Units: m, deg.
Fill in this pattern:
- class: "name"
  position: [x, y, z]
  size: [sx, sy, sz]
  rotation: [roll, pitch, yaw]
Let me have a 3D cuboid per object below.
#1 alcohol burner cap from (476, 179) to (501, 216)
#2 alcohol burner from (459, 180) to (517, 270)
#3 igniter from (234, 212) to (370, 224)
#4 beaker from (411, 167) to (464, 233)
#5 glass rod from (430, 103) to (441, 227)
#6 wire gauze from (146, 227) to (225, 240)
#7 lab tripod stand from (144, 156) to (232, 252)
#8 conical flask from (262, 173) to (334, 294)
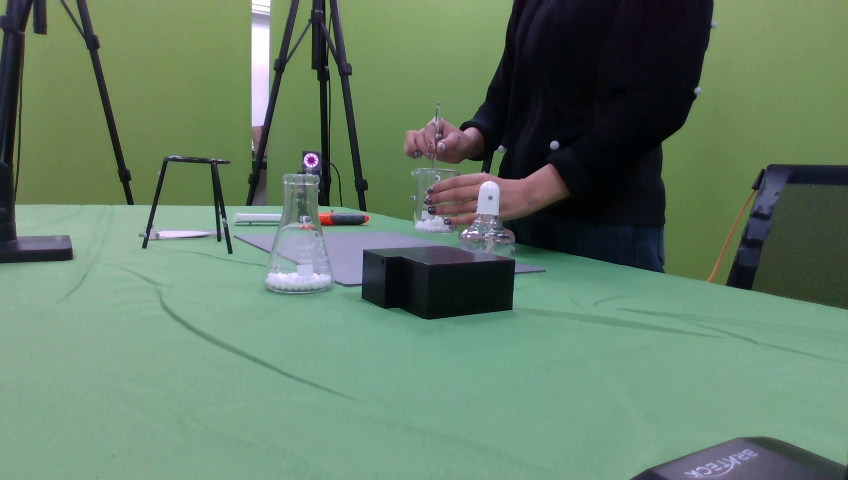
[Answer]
- class: "alcohol burner cap"
  position: [0.086, -0.057, 0.801]
  size: [0.034, 0.048, 0.034]
  rotation: [4, 2, 0]
- class: "alcohol burner"
  position: [0.086, -0.021, 0.805]
  size: [0.078, 0.119, 0.078]
  rotation: [3, 9, 0]
- class: "igniter"
  position: [-0.247, -0.046, 1.253]
  size: [0.278, 0.025, 0.057]
  rotation: [-1, -2, -27]
- class: "beaker"
  position: [0.018, -0.063, 0.955]
  size: [0.084, 0.100, 0.074]
  rotation: [4, 4, 10]
- class: "glass rod"
  position: [0.017, -0.120, 0.974]
  size: [0.008, 0.199, 0.008]
  rotation: [3, 1, 0]
- class: "wire gauze"
  position: [-0.400, -0.012, 1.019]
  size: [0.122, 0.011, 0.124]
  rotation: [-1, 6, -26]
- class: "lab tripod stand"
  position: [-0.325, -0.054, 0.881]
  size: [0.148, 0.131, 0.148]
  rotation: [4, 7, 0]
- class: "conical flask"
  position: [-0.131, -0.009, 0.632]
  size: [0.075, 0.122, 0.075]
  rotation: [2, 8, 0]
